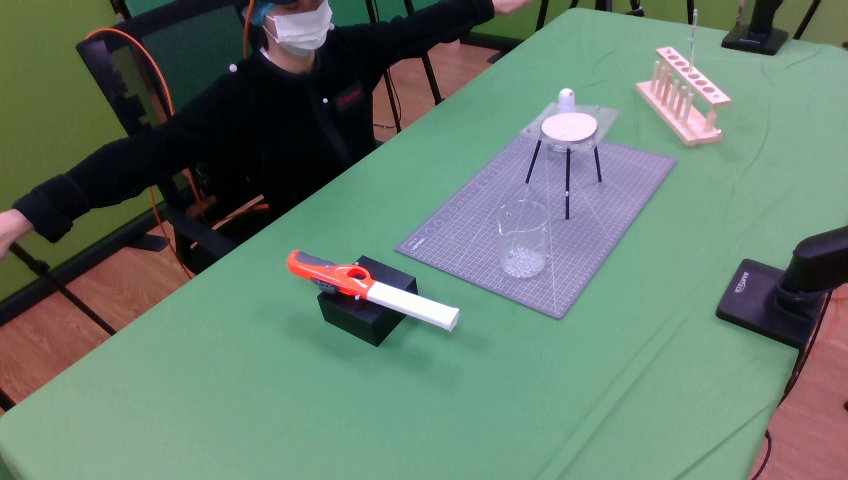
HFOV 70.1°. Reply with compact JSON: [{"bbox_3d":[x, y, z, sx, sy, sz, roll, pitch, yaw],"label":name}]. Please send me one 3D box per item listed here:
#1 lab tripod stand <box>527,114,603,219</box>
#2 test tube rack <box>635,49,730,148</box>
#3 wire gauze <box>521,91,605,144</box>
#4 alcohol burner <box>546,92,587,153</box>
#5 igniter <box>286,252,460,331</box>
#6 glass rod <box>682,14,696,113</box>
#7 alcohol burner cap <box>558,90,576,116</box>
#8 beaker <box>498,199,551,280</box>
[{"bbox_3d":[0.235,-0.129,1.002,0.148,0.132,0.147,-6,40,6],"label":"lab tripod stand"},{"bbox_3d":[0.497,-0.283,1.185,0.067,0.085,0.240,-10,40,-2],"label":"test tube rack"},{"bbox_3d":[0.219,-0.191,0.948,0.121,0.011,0.125,8,49,13],"label":"wire gauze"},{"bbox_3d":[0.263,-0.222,1.124,0.078,0.119,0.077,-5,42,5],"label":"alcohol burner"},{"bbox_3d":[-0.080,0.067,0.832,0.275,0.025,0.057,17,46,22],"label":"igniter"},{"bbox_3d":[0.495,-0.326,1.132,0.008,0.201,0.008,-8,42,8],"label":"glass rod"},{"bbox_3d":[0.260,-0.250,1.102,0.034,0.048,0.033,-7,36,6],"label":"alcohol burner cap"},{"bbox_3d":[0.144,0.003,0.884,0.073,0.101,0.084,28,52,36],"label":"beaker"}]
